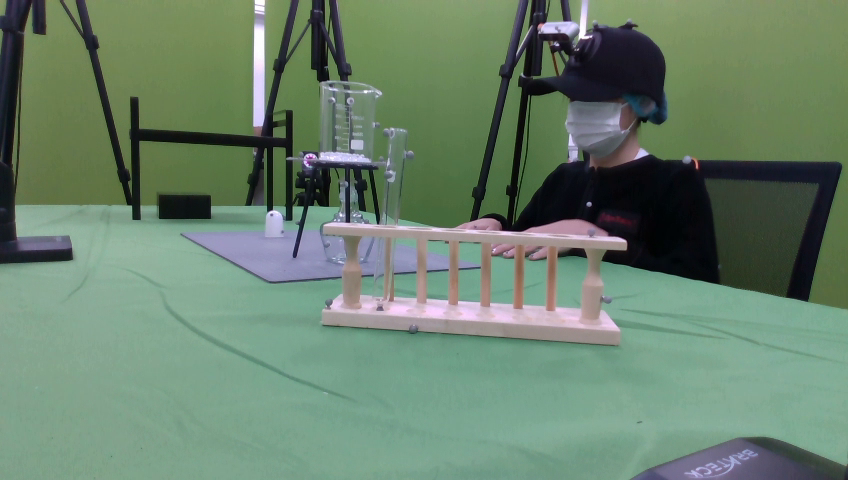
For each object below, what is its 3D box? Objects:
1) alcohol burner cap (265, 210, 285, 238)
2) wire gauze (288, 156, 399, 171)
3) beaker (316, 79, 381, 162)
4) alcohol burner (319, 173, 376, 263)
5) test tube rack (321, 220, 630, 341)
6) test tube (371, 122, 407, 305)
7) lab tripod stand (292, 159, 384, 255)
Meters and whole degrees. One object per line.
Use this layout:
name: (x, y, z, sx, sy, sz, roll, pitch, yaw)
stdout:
alcohol burner cap: (-0.253, -0.027, 1.027, 0.034, 0.048, 0.034, 2, 8, 0)
wire gauze: (-0.101, -0.103, 0.788, 0.121, 0.011, 0.125, 5, 4, 5)
beaker: (-0.098, -0.151, 0.778, 0.084, 0.100, 0.074, 4, 7, 6)
alcohol burner: (-0.101, -0.030, 0.804, 0.078, 0.119, 0.078, 1, 6, 0)
test tube rack: (0.041, 0.029, 0.512, 0.242, 0.085, 0.067, 3, 7, 5)
test tube: (-0.029, -0.020, 0.493, 0.017, 0.150, 0.017, 6, 9, -1)
lab tripod stand: (-0.105, -0.039, 0.797, 0.148, 0.131, 0.148, 2, 5, 0)
